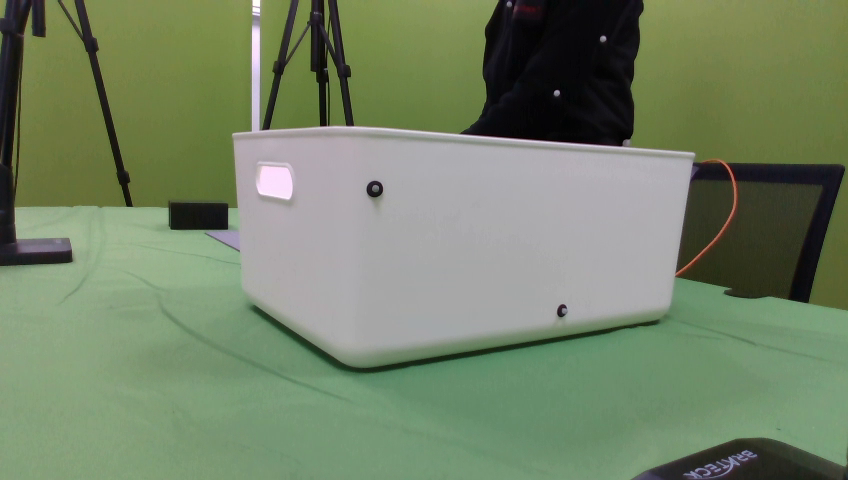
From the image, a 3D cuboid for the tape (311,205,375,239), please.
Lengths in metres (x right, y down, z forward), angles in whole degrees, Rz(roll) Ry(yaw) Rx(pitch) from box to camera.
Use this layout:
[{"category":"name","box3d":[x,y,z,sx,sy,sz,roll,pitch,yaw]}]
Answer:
[{"category":"tape","box3d":[-0.145,-0.034,1.097,0.117,0.052,0.117,3,8,0]}]

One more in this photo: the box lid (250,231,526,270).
[{"category":"box lid","box3d":[-0.057,0.011,0.934,0.373,0.015,0.262,-2,8,-32]}]

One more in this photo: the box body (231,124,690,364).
[{"category":"box body","box3d":[0.031,-0.013,0.563,0.366,0.160,0.253,-3,8,-33]}]
